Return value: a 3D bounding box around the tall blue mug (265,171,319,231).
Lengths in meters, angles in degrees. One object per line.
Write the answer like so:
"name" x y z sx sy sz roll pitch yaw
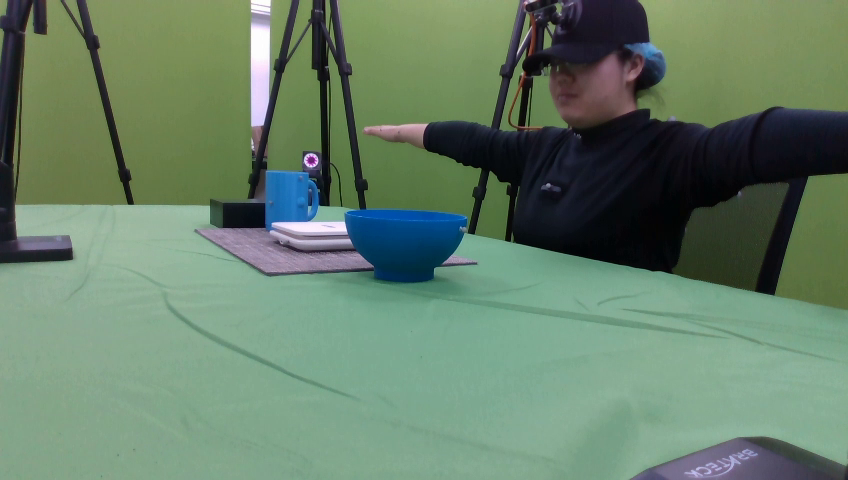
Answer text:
"tall blue mug" -0.248 -0.073 1.121 0.078 0.108 0.107 3 8 8

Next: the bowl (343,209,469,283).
"bowl" -0.023 0.007 0.731 0.151 0.077 0.151 3 7 0

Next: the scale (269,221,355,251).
"scale" -0.130 -0.008 0.959 0.202 0.031 0.148 -1 9 -32
